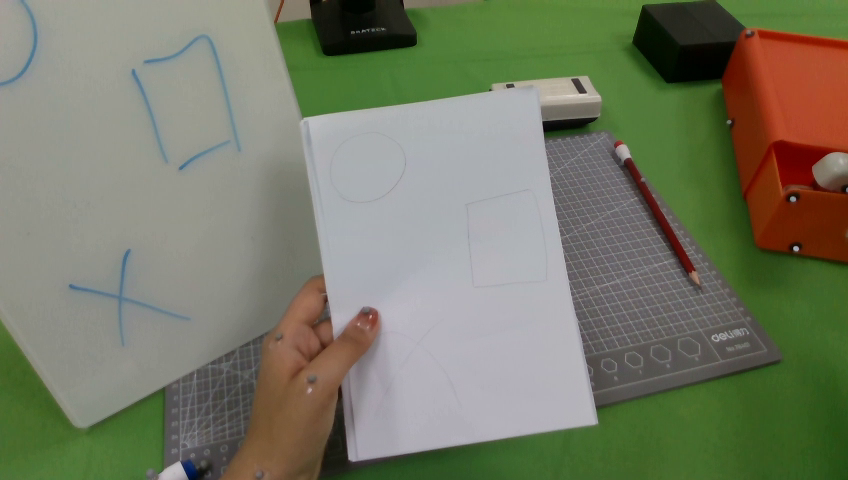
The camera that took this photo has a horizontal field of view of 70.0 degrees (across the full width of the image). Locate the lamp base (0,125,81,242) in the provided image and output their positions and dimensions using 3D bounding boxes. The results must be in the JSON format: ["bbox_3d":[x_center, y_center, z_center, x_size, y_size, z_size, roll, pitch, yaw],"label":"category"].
[{"bbox_3d":[-0.410,-0.106,0.499,0.178,0.182,0.160,19,49,19],"label":"lamp base"}]

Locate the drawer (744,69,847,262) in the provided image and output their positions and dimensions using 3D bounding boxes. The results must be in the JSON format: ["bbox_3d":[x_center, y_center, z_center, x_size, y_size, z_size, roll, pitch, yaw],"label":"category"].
[{"bbox_3d":[0.408,-0.071,0.568,0.194,0.074,0.210,9,47,8],"label":"drawer"}]

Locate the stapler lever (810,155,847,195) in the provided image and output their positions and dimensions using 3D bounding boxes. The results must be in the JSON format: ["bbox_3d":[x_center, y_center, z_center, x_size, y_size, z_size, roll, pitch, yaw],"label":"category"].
[{"bbox_3d":[0.388,-0.044,0.513,0.118,0.040,0.026,9,56,-1],"label":"stapler lever"}]

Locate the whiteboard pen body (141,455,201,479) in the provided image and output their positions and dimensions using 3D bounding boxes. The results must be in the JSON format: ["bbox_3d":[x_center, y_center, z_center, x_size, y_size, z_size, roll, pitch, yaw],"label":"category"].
[{"bbox_3d":[-0.202,0.169,0.357,0.141,0.017,0.017,-25,52,-25],"label":"whiteboard pen body"}]

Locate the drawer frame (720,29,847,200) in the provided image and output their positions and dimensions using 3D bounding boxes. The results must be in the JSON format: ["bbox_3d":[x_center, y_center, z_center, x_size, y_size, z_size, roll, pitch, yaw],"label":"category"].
[{"bbox_3d":[0.421,-0.118,0.610,0.201,0.083,0.212,9,47,7],"label":"drawer frame"}]

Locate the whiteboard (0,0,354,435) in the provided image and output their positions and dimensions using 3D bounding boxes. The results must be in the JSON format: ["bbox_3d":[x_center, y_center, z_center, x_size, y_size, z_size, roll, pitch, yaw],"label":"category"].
[{"bbox_3d":[-0.208,-0.066,0.424,0.217,0.308,0.142,-27,34,-24],"label":"whiteboard"}]

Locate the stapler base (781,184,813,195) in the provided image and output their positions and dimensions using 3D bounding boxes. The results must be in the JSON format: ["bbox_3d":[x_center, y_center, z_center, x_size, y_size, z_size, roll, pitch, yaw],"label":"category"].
[{"bbox_3d":[0.384,-0.030,0.533,0.130,0.024,0.041,10,56,-1],"label":"stapler base"}]

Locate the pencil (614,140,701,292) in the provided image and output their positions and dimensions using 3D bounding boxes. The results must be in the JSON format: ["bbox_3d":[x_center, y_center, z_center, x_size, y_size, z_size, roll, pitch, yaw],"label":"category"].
[{"bbox_3d":[0.216,-0.029,0.566,0.012,0.012,0.192,-6,50,-7],"label":"pencil"}]

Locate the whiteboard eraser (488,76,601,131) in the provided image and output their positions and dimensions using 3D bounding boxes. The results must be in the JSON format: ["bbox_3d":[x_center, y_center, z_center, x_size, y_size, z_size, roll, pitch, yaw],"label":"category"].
[{"bbox_3d":[0.129,-0.147,0.655,0.113,0.042,0.055,-6,48,-7],"label":"whiteboard eraser"}]
